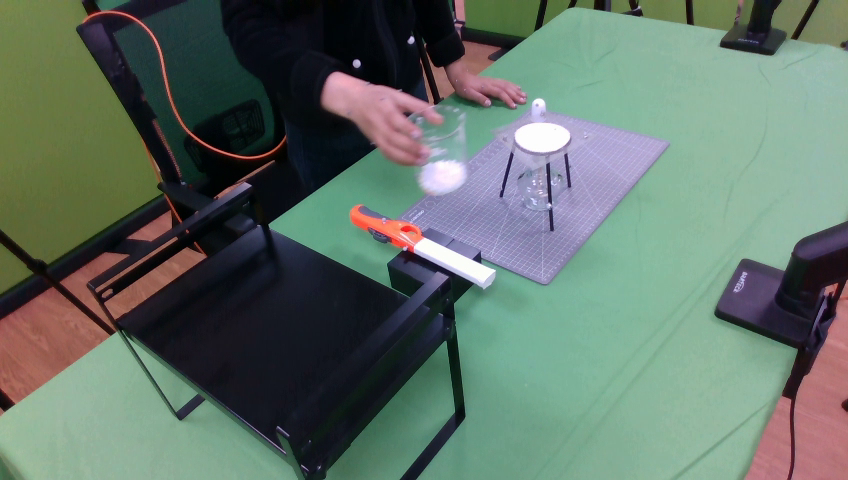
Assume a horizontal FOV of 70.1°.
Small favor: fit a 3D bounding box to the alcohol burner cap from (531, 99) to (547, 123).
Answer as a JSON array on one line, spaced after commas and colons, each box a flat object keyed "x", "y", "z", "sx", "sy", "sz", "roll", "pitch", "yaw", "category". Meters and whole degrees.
[{"x": 0.234, "y": -0.264, "z": 1.231, "sx": 0.034, "sy": 0.048, "sz": 0.033, "roll": -5, "pitch": 41, "yaw": 5, "category": "alcohol burner cap"}]

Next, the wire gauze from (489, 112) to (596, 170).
[{"x": 0.183, "y": -0.161, "z": 0.942, "sx": 0.122, "sy": 0.011, "sz": 0.124, "roll": -24, "pitch": 44, "yaw": -18, "category": "wire gauze"}]

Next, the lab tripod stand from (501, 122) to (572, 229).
[{"x": 0.194, "y": -0.110, "z": 0.985, "sx": 0.148, "sy": 0.132, "sz": 0.147, "roll": -3, "pitch": 42, "yaw": 3, "category": "lab tripod stand"}]

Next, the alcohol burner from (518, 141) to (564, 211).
[{"x": 0.193, "y": -0.109, "z": 0.999, "sx": 0.078, "sy": 0.119, "sz": 0.077, "roll": -5, "pitch": 38, "yaw": 5, "category": "alcohol burner"}]

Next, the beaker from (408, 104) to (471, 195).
[{"x": 0.026, "y": -0.118, "z": 0.796, "sx": 0.084, "sy": 0.101, "sz": 0.073, "roll": -27, "pitch": 48, "yaw": -17, "category": "beaker"}]

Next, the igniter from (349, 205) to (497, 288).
[{"x": -0.013, "y": 0.004, "z": 0.897, "sx": 0.274, "sy": 0.025, "sz": 0.057, "roll": 25, "pitch": 44, "yaw": 32, "category": "igniter"}]
